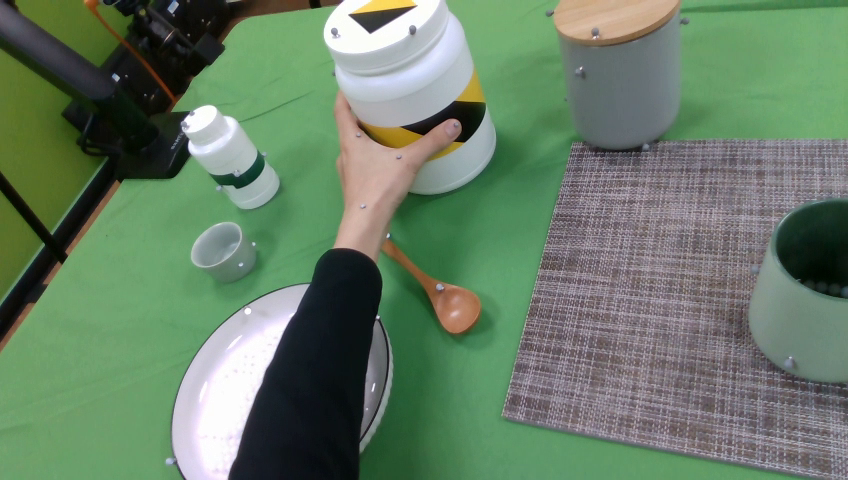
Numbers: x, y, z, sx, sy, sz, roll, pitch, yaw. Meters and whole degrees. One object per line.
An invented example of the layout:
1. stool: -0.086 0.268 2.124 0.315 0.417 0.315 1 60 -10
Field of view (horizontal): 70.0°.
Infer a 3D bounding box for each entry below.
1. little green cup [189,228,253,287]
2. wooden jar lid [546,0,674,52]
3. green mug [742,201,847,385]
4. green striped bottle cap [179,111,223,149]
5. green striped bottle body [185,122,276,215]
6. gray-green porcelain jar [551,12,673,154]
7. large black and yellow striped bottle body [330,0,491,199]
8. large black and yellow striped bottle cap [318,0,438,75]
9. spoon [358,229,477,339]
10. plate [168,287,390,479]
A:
1. little green cup: -0.222 0.021 0.669 0.061 0.039 0.061 -12 49 14
2. wooden jar lid: 0.163 -0.196 0.534 0.108 0.021 0.107 -14 47 16
3. green mug: 0.280 0.040 0.394 0.124 0.106 0.092 13 59 30
4. green striped bottle cap: -0.246 -0.121 0.667 0.044 0.020 0.044 -9 53 13
5. green striped bottle body: -0.229 -0.089 0.705 0.063 0.120 0.062 -12 50 15
6. gray-green porcelain jar: 0.181 -0.155 0.578 0.105 0.128 0.105 -11 47 12
7. large black and yellow striped bottle body: -0.014 -0.146 0.616 0.130 0.186 0.129 -12 50 15
8. large black and yellow striped bottle cap: -0.043 -0.194 0.554 0.115 0.019 0.114 -11 49 13
9. spoon: -0.013 0.033 0.584 0.041 0.022 0.191 -52 51 1
10. plate: -0.124 0.138 0.536 0.209 0.038 0.207 -11 50 14
